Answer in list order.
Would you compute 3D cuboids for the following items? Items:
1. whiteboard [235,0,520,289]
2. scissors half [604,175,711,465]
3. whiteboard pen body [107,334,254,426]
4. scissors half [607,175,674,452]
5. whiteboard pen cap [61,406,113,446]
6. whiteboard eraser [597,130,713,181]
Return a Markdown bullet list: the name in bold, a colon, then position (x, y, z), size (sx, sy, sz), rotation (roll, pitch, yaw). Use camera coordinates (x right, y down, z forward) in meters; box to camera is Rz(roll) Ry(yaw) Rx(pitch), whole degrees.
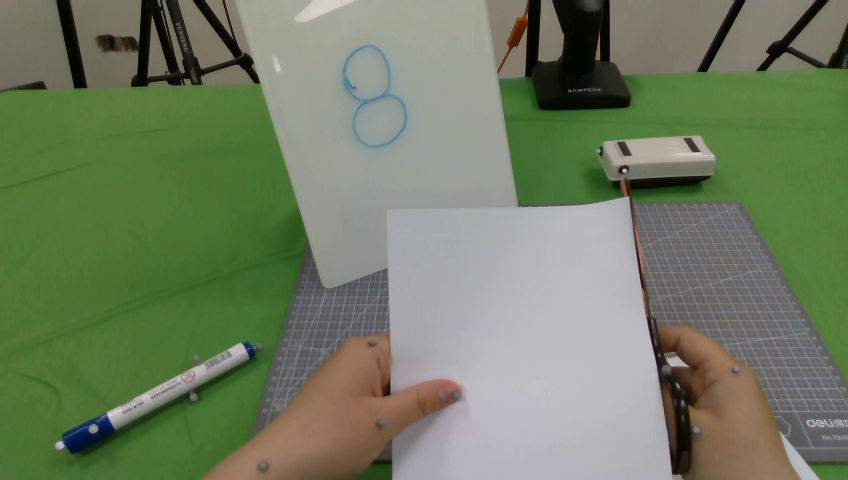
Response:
- **whiteboard**: position (-0.054, -0.146, 0.594), size (0.217, 0.307, 0.142), rotation (-20, 23, -18)
- **scissors half**: position (0.133, 0.043, 0.356), size (0.013, 0.040, 0.174), rotation (-13, 76, -7)
- **whiteboard pen body**: position (-0.198, 0.112, 0.471), size (0.141, 0.017, 0.017), rotation (-28, 47, -28)
- **scissors half**: position (0.131, 0.046, 0.376), size (0.013, 0.175, 0.040), rotation (-12, 4, -12)
- **whiteboard pen cap**: position (-0.245, 0.135, 0.444), size (0.033, 0.018, 0.018), rotation (-28, 47, -28)
- **whiteboard eraser**: position (0.253, -0.092, 0.668), size (0.113, 0.042, 0.055), rotation (-2, 43, 0)
